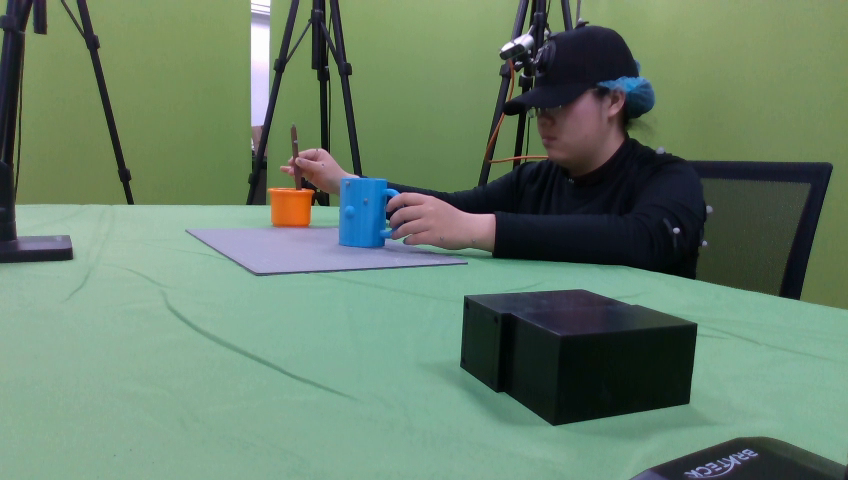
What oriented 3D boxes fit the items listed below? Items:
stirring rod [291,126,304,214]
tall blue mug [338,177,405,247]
[{"bbox_3d":[-0.253,-0.139,1.207,0.006,0.176,0.014,-3,4,24],"label":"stirring rod"},{"bbox_3d":[-0.083,-0.046,0.977,0.107,0.108,0.078,2,6,-1],"label":"tall blue mug"}]
